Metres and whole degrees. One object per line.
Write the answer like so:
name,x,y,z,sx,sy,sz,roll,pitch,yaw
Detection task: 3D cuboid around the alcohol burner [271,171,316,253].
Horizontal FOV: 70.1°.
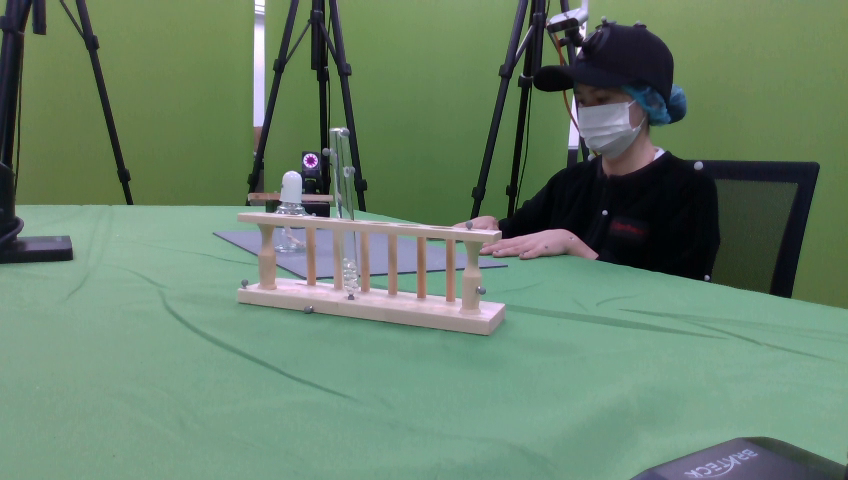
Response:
alcohol burner,-0.196,-0.041,0.884,0.078,0.119,0.078,3,5,0

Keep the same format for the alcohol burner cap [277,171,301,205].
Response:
alcohol burner cap,-0.195,-0.077,0.880,0.034,0.048,0.034,7,7,0

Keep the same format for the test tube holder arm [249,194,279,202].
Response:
test tube holder arm,-0.302,-0.084,1.197,0.088,0.015,0.010,-2,1,-37

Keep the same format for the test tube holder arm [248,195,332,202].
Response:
test tube holder arm,-0.269,-0.085,1.229,0.179,0.015,0.013,-2,1,-37

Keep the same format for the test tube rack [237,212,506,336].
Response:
test tube rack,-0.049,0.024,0.552,0.242,0.085,0.067,5,8,18

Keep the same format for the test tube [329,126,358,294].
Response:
test tube,-0.071,-0.025,0.534,0.017,0.150,0.017,-3,10,1
